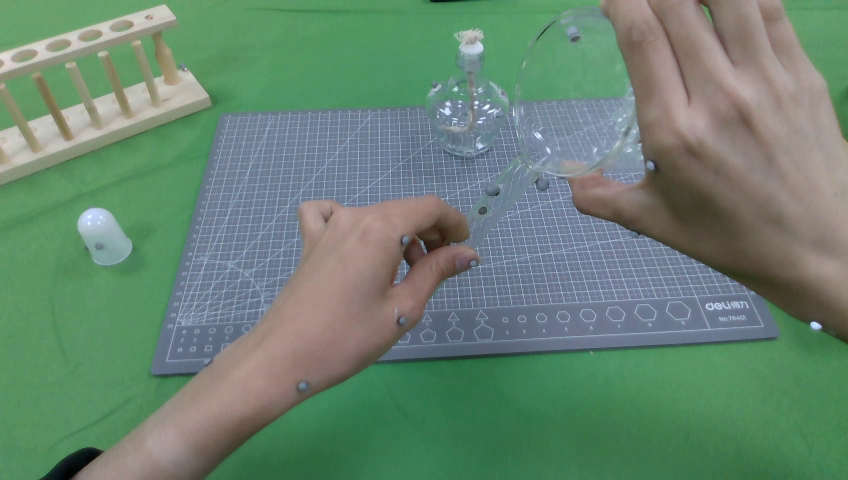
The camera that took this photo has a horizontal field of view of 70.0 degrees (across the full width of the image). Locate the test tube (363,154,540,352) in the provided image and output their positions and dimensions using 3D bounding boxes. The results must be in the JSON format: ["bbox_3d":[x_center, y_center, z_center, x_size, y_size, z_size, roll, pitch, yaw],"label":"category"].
[{"bbox_3d":[0.010,0.013,0.333,0.017,0.150,0.017,31,28,-18],"label":"test tube"}]

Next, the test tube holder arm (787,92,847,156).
[{"bbox_3d":[0.329,-0.094,0.500,0.015,0.010,0.087,1,47,-7],"label":"test tube holder arm"}]

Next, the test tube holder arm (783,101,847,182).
[{"bbox_3d":[0.331,-0.058,0.474,0.015,0.013,0.176,1,46,-7],"label":"test tube holder arm"}]

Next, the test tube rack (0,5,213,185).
[{"bbox_3d":[-0.338,-0.135,0.572,0.242,0.086,0.066,-28,54,-22],"label":"test tube rack"}]

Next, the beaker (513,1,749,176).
[{"bbox_3d":[0.104,-0.068,0.303,0.101,0.084,0.073,-6,51,-35],"label":"beaker"}]

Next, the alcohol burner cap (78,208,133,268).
[{"bbox_3d":[-0.259,-0.005,0.487,0.034,0.048,0.033,0,48,0],"label":"alcohol burner cap"}]

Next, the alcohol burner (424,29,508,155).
[{"bbox_3d":[0.039,-0.136,0.545,0.078,0.120,0.077,1,50,0],"label":"alcohol burner"}]
